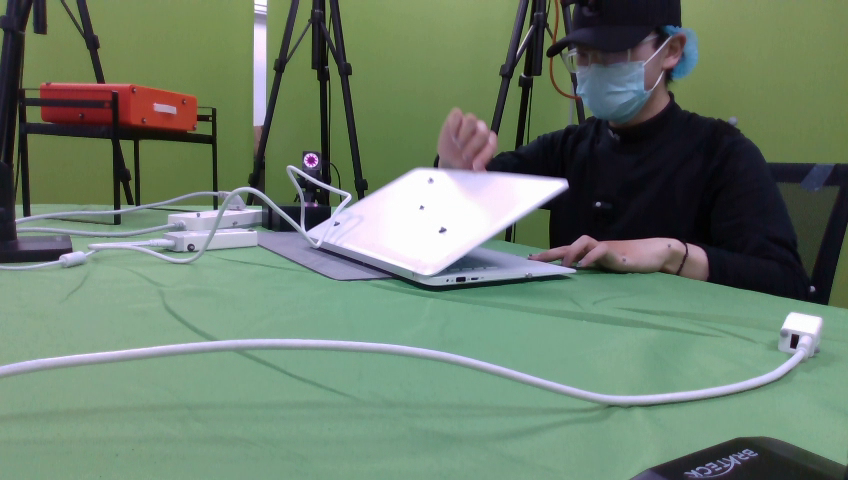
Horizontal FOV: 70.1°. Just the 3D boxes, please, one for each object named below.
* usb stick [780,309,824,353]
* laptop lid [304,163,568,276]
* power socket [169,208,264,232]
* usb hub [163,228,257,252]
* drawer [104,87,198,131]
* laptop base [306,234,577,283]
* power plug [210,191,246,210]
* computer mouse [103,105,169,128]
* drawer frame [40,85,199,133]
[{"bbox_3d":[0.311,0.072,0.496,0.027,0.021,0.059,7,15,34],"label":"usb stick"},{"bbox_3d":[-0.003,-0.046,0.832,0.242,0.013,0.355,-34,25,-23],"label":"laptop lid"},{"bbox_3d":[-0.381,-0.038,1.128,0.072,0.032,0.227,4,8,17],"label":"power socket"},{"bbox_3d":[-0.314,-0.001,0.894,0.049,0.025,0.126,9,10,41],"label":"usb hub"},{"bbox_3d":[-0.609,-0.264,1.235,0.211,0.073,0.195,3,8,16],"label":"drawer"},{"bbox_3d":[0.006,0.021,0.850,0.237,0.023,0.352,2,7,-34],"label":"laptop base"},{"bbox_3d":[-0.386,-0.071,1.203,0.072,0.052,0.035,8,10,25],"label":"power plug"},{"bbox_3d":[-0.581,-0.249,1.223,0.118,0.041,0.062,2,3,-39],"label":"computer mouse"},{"bbox_3d":[-0.612,-0.266,1.235,0.213,0.082,0.202,4,8,15],"label":"drawer frame"}]
